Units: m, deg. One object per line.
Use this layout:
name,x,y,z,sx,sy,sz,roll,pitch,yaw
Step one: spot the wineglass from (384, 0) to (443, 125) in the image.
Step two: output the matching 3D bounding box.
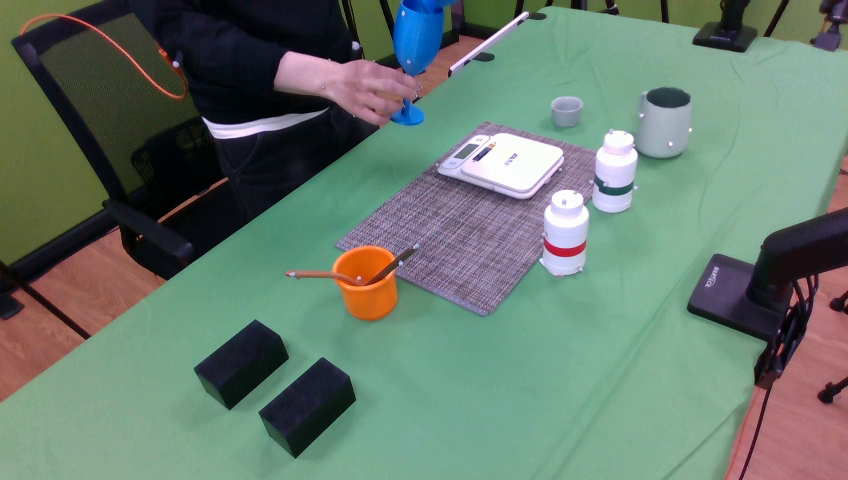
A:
wineglass,-0.018,-0.264,0.906,0.074,0.172,0.073,8,39,-6

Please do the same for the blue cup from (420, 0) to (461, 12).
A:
blue cup,0.045,-0.374,0.842,0.100,0.093,0.092,-19,42,-10

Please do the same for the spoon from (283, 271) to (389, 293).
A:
spoon,-0.117,0.054,0.825,0.041,0.195,0.021,17,89,38

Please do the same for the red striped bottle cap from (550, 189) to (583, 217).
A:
red striped bottle cap,0.199,-0.052,0.843,0.044,0.018,0.044,-2,42,2

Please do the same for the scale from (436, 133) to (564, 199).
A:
scale,0.137,-0.142,1.101,0.199,0.032,0.149,22,48,30

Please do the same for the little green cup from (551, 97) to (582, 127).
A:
little green cup,0.284,-0.255,1.213,0.061,0.039,0.061,-4,41,4

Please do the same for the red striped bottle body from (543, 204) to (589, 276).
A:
red striped bottle body,0.205,-0.011,0.878,0.063,0.120,0.062,-5,41,4

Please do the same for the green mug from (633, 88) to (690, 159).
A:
green mug,0.423,-0.217,1.099,0.093,0.105,0.124,-16,41,-10

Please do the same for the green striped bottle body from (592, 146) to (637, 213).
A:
green striped bottle body,0.307,-0.108,0.976,0.063,0.120,0.063,-4,41,4

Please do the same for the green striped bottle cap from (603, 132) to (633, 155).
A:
green striped bottle cap,0.302,-0.149,0.939,0.044,0.020,0.044,-3,40,3

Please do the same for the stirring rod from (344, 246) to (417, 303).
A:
stirring rod,-0.062,0.050,0.819,0.014,0.175,0.006,-1,63,-40
